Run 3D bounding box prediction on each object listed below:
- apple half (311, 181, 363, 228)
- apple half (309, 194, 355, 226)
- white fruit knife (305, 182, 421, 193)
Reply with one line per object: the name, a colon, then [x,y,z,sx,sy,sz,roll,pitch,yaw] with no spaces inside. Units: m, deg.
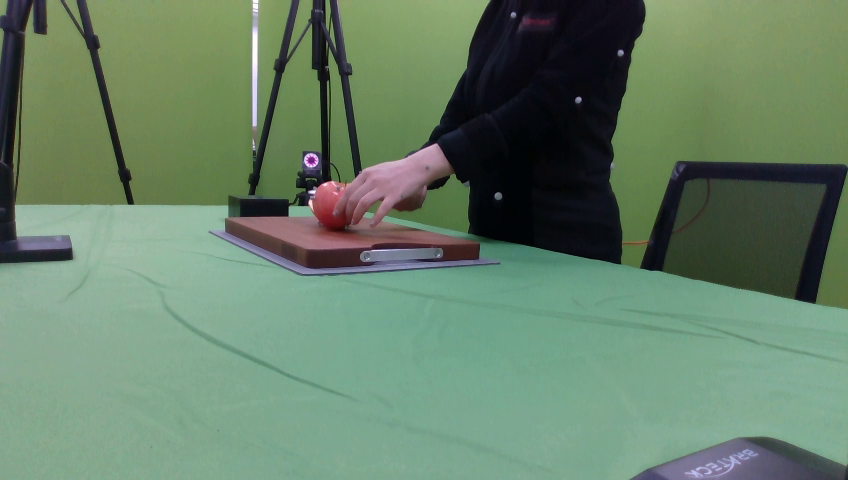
apple half: [-0.133,-0.050,0.950,0.081,0.074,0.053,5,44,-41]
apple half: [-0.156,-0.044,1.017,0.081,0.033,0.081,15,38,-11]
white fruit knife: [-0.098,-0.085,0.999,0.208,0.016,0.027,-5,30,-34]
